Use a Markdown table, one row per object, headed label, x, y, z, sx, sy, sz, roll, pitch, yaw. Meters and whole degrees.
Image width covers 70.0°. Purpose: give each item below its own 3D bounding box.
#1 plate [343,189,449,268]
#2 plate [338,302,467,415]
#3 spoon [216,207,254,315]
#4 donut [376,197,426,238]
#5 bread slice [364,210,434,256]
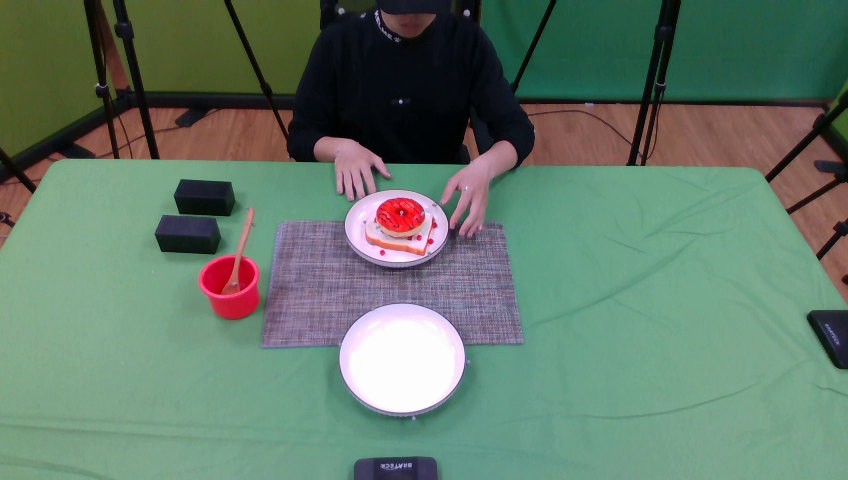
| label | x | y | z | sx | sy | sz | roll | pitch | yaw |
| --- | --- | --- | --- | --- | --- | --- | --- | --- | --- |
| plate | -0.055 | -0.019 | 1.195 | 0.209 | 0.038 | 0.208 | 3 | 46 | -2 |
| plate | -0.035 | 0.194 | 0.992 | 0.208 | 0.039 | 0.206 | 2 | 48 | -2 |
| spoon | -0.322 | 0.036 | 1.053 | 0.041 | 0.021 | 0.193 | 14 | 90 | 11 |
| donut | -0.044 | -0.046 | 1.174 | 0.099 | 0.048 | 0.098 | 3 | 45 | -3 |
| bread slice | -0.053 | -0.020 | 1.199 | 0.131 | 0.019 | 0.104 | 10 | 46 | 4 |
